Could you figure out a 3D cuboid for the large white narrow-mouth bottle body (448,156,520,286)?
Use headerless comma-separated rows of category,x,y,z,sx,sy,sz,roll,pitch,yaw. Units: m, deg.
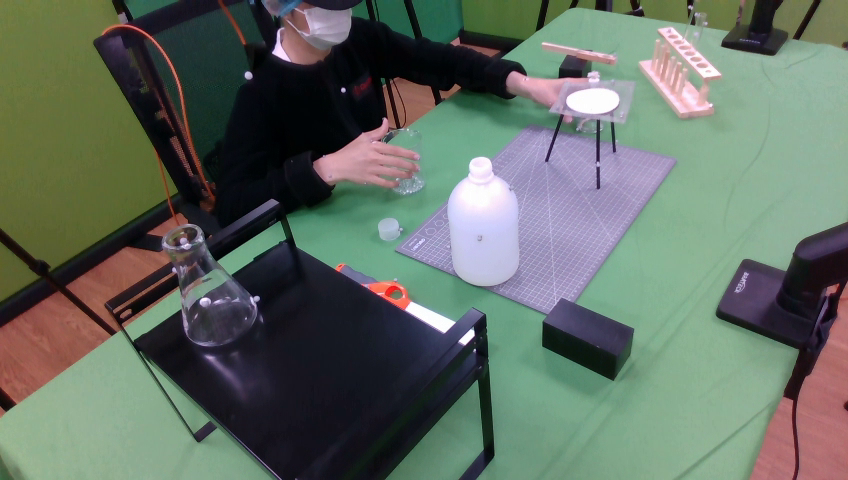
large white narrow-mouth bottle body,0.086,-0.032,0.869,0.102,0.195,0.101,-4,40,4

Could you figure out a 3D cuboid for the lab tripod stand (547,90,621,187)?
lab tripod stand,0.289,-0.184,1.062,0.148,0.132,0.147,-6,41,6

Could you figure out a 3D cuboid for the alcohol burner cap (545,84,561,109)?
alcohol burner cap,0.274,-0.308,1.285,0.034,0.048,0.033,-6,42,6

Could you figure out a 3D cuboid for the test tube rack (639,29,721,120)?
test tube rack,0.527,-0.351,1.262,0.067,0.085,0.241,-8,40,1

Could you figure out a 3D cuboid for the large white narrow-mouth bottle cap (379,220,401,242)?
large white narrow-mouth bottle cap,-0.057,-0.015,1.011,0.038,0.024,0.037,-4,40,4

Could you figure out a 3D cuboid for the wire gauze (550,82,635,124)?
wire gauze,0.285,-0.236,1.020,0.124,0.011,0.121,10,44,22

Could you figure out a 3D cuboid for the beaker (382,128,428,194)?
beaker,-0.030,-0.142,1.095,0.073,0.100,0.084,14,43,23

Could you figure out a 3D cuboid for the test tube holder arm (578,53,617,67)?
test tube holder arm,0.376,-0.393,1.314,0.087,0.015,0.010,26,51,32

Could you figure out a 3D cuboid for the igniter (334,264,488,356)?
igniter,-0.030,0.095,0.871,0.274,0.025,0.057,23,61,31

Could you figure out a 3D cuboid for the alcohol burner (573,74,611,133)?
alcohol burner,0.330,-0.270,1.177,0.078,0.119,0.077,-4,42,4

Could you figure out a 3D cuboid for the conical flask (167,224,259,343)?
conical flask,-0.220,0.041,0.613,0.075,0.122,0.075,-5,40,4

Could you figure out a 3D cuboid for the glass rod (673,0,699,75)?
glass rod,0.541,-0.427,1.246,0.008,0.200,0.008,0,48,1

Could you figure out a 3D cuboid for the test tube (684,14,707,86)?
test tube,0.541,-0.379,1.216,0.017,0.151,0.017,-2,44,2

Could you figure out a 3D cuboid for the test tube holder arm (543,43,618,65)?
test tube holder arm,0.345,-0.413,1.340,0.177,0.015,0.013,25,50,31
